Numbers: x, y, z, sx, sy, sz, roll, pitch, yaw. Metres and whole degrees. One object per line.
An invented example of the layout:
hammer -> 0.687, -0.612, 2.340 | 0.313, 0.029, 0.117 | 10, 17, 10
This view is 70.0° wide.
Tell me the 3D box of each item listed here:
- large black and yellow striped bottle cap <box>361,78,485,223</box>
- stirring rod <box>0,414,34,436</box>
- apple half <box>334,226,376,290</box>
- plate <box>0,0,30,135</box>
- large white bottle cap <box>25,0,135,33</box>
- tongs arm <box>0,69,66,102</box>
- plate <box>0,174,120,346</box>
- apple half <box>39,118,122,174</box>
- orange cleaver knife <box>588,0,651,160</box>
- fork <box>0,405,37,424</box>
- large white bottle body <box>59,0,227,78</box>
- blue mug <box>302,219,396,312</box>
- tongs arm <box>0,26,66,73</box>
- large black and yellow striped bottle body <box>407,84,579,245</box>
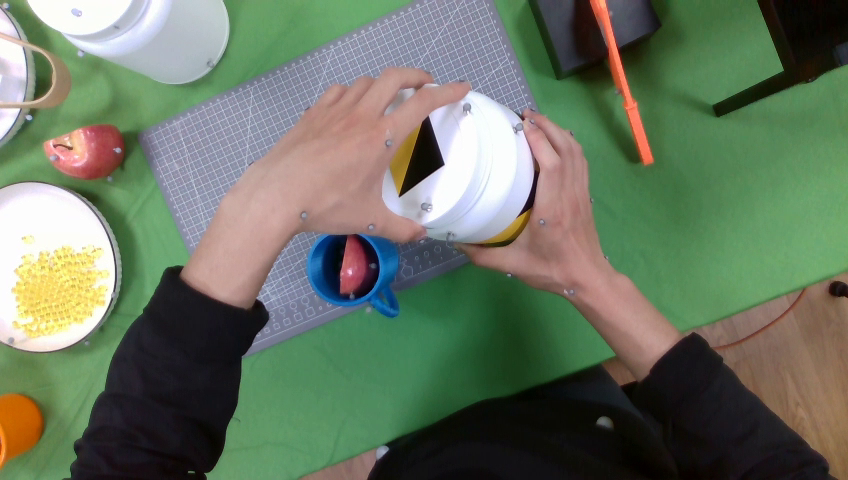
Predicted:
large black and yellow striped bottle cap -> -0.004, -0.071, 0.484 | 0.114, 0.019, 0.114 | -4, 83, 37
stirring rod -> -0.559, 0.244, 0.709 | 0.177, 0.006, 0.014 | -16, 81, -34
apple half -> -0.068, 0.021, 0.665 | 0.032, 0.081, 0.081 | 11, 95, 11
plate -> -0.568, -0.209, 0.729 | 0.207, 0.039, 0.208 | 0, 95, 5
large white bottle cap -> -0.312, -0.247, 0.547 | 0.115, 0.018, 0.115 | 0, 94, 5
tongs arm -> -0.603, -0.185, 0.702 | 0.384, 0.026, 0.051 | 6, 91, 6
plate -> -0.467, 0.024, 0.739 | 0.209, 0.038, 0.209 | 0, 95, 5
apple half -> -0.392, -0.105, 0.705 | 0.081, 0.074, 0.053 | -19, 96, 2
orange cleaver knife -> 0.204, -0.185, 0.647 | 0.012, 0.076, 0.213 | -21, 119, 14
fork -> -0.575, 0.229, 0.706 | 0.208, 0.018, 0.028 | -8, 93, -38
large white bottle body -> -0.303, -0.252, 0.631 | 0.130, 0.184, 0.130 | 0, 93, 5
blue mug -> -0.070, 0.031, 0.671 | 0.082, 0.106, 0.116 | -38, 91, 6
tongs arm -> -0.587, -0.267, 0.696 | 0.387, 0.028, 0.028 | 20, 89, 5
large black and yellow striped bottle body -> 0.047, -0.065, 0.553 | 0.130, 0.185, 0.130 | -3, 84, 36
